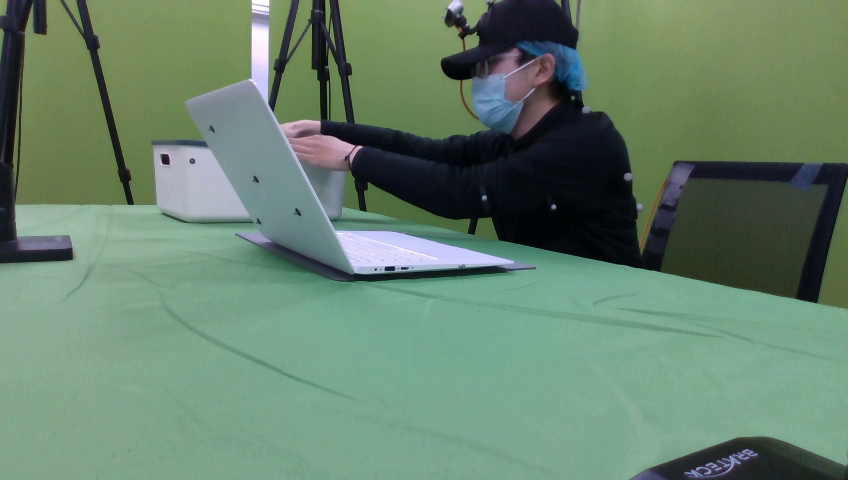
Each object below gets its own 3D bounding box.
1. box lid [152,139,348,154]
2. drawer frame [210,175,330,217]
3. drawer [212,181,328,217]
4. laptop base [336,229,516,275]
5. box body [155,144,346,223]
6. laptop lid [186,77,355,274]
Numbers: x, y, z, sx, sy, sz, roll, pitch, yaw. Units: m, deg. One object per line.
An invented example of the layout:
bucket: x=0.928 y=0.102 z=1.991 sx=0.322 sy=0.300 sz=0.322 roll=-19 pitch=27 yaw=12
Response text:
box lid: x=-0.379 y=-0.205 z=1.338 sx=0.373 sy=0.015 sz=0.262 roll=-3 pitch=10 yaw=-36
drawer frame: x=-0.348 y=-0.104 z=1.366 sx=0.215 sy=0.082 sz=0.200 roll=-7 pitch=9 yaw=-33
drawer: x=-0.349 y=-0.096 z=1.366 sx=0.213 sy=0.073 sz=0.193 roll=-2 pitch=10 yaw=-32
laptop base: x=-0.065 y=0.014 z=0.877 sx=0.237 sy=0.023 sz=0.352 roll=2 pitch=7 yaw=-32
box body: x=-0.384 y=-0.132 z=1.346 sx=0.366 sy=0.160 sz=0.253 roll=-3 pitch=9 yaw=-36
laptop lid: x=-0.211 y=-0.081 z=0.772 sx=0.013 sy=0.242 sz=0.355 roll=-35 pitch=25 yaw=-23
